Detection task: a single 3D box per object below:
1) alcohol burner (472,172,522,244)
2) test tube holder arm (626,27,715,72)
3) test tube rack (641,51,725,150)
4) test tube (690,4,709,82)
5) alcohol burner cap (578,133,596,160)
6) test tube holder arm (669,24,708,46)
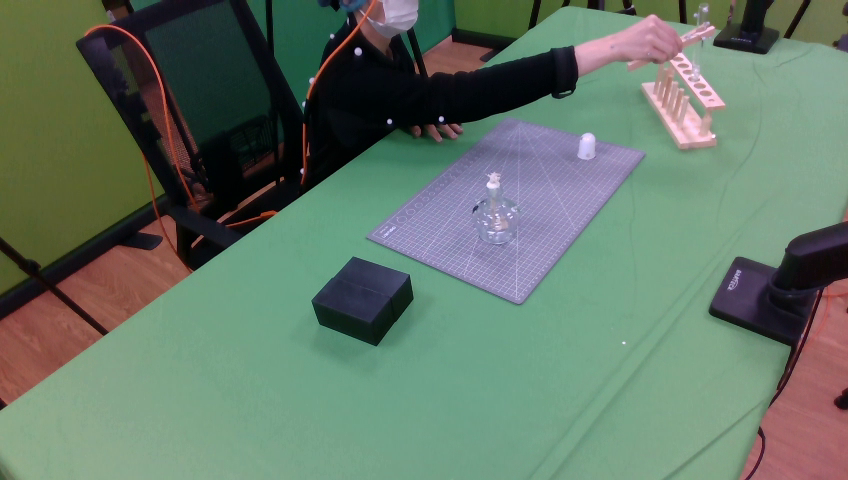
[{"bbox_3d":[0.112,-0.053,0.942,0.078,0.119,0.077,-6,40,6],"label":"alcohol burner"},{"bbox_3d":[0.430,-0.332,1.053,0.179,0.015,0.013,-26,46,-9],"label":"test tube holder arm"},{"bbox_3d":[0.495,-0.279,1.175,0.067,0.085,0.241,-5,41,3],"label":"test tube rack"},{"bbox_3d":[0.493,-0.349,1.083,0.017,0.151,0.017,-8,46,9],"label":"test tube"},{"bbox_3d":[0.301,-0.174,1.111,0.034,0.048,0.033,-5,41,4],"label":"alcohol burner cap"},{"bbox_3d":[0.466,-0.356,1.065,0.088,0.015,0.010,-32,48,-15],"label":"test tube holder arm"}]
